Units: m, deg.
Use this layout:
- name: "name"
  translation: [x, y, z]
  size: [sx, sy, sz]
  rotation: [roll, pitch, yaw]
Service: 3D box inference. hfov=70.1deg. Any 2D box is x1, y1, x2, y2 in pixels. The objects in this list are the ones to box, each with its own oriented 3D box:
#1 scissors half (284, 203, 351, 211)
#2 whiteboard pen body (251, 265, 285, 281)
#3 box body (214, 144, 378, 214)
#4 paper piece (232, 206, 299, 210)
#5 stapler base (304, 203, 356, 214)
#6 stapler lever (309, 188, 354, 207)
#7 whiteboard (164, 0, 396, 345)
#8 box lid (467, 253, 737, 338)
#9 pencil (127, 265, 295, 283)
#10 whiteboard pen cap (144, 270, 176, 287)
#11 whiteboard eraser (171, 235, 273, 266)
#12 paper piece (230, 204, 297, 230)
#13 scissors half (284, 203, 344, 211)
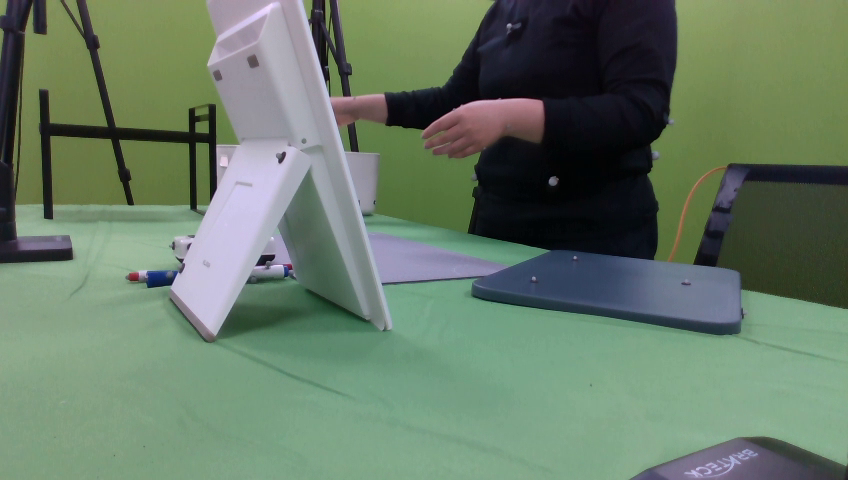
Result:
- name: "scissors half"
  translation: [-0.269, -0.082, 1.534]
  size: [0.176, 0.013, 0.040]
  rotation: [-7, 8, -24]
- name: "whiteboard pen body"
  translation: [-0.220, 0.039, 0.656]
  size: [0.141, 0.017, 0.017]
  rotation: [-2, 9, -31]
- name: "box body"
  translation: [-0.328, -0.154, 1.543]
  size: [0.366, 0.160, 0.253]
  rotation: [-2, 9, -32]
- name: "paper piece"
  translation: [-0.388, -0.079, 1.466]
  size: [0.136, 0.004, 0.135]
  rotation: [-2, 7, -30]
- name: "stapler base"
  translation: [-0.235, -0.081, 1.510]
  size: [0.131, 0.024, 0.041]
  rotation: [2, 9, -35]
- name: "stapler lever"
  translation: [-0.231, -0.106, 1.509]
  size: [0.119, 0.040, 0.026]
  rotation: [3, 9, -35]
- name: "whiteboard"
  translation: [-0.173, -0.053, 0.511]
  size: [0.144, 0.305, 0.216]
  rotation: [-23, 19, -26]
- name: "box lid"
  translation: [0.234, 0.055, 0.736]
  size: [0.262, 0.015, 0.373]
  rotation: [7, 8, 26]
- name: "pencil"
  translation: [-0.231, 0.037, 0.690]
  size: [0.195, 0.012, 0.012]
  rotation: [-2, 9, -34]
- name: "whiteboard pen cap"
  translation: [-0.271, 0.039, 0.627]
  size: [0.033, 0.018, 0.018]
  rotation: [-3, 10, -32]
- name: "whiteboard eraser"
  translation: [-0.248, 0.014, 0.747]
  size: [0.113, 0.042, 0.055]
  rotation: [-1, 10, -32]
- name: "paper piece"
  translation: [-0.392, -0.059, 1.469]
  size: [0.139, 0.008, 0.135]
  rotation: [-8, 28, -25]
- name: "scissors half"
  translation: [-0.280, -0.083, 1.552]
  size: [0.176, 0.013, 0.040]
  rotation: [-9, 5, -44]
